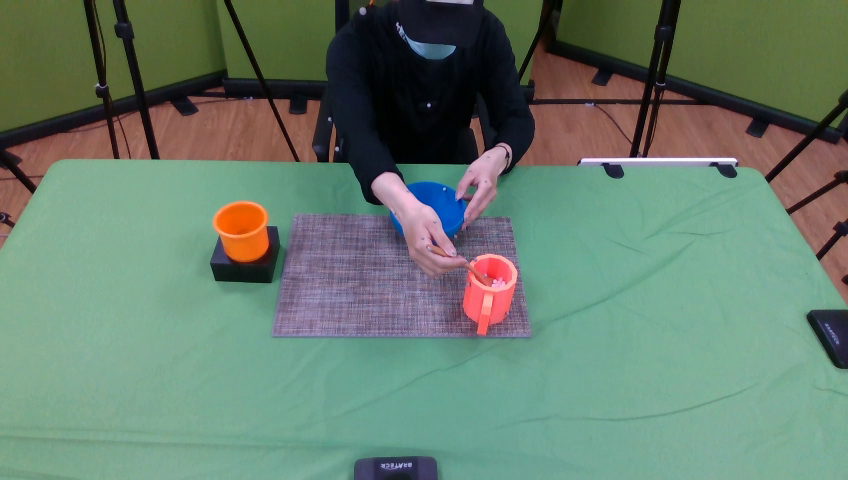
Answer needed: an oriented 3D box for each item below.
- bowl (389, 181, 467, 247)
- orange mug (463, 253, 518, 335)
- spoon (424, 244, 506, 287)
[{"bbox_3d":[0.006,-0.039,1.189,0.151,0.077,0.150,2,46,-2],"label":"bowl"},{"bbox_3d":[0.113,0.098,1.049,0.083,0.101,0.125,9,41,5],"label":"orange mug"},{"bbox_3d":[0.074,0.047,1.018,0.195,0.021,0.041,33,27,-33],"label":"spoon"}]
